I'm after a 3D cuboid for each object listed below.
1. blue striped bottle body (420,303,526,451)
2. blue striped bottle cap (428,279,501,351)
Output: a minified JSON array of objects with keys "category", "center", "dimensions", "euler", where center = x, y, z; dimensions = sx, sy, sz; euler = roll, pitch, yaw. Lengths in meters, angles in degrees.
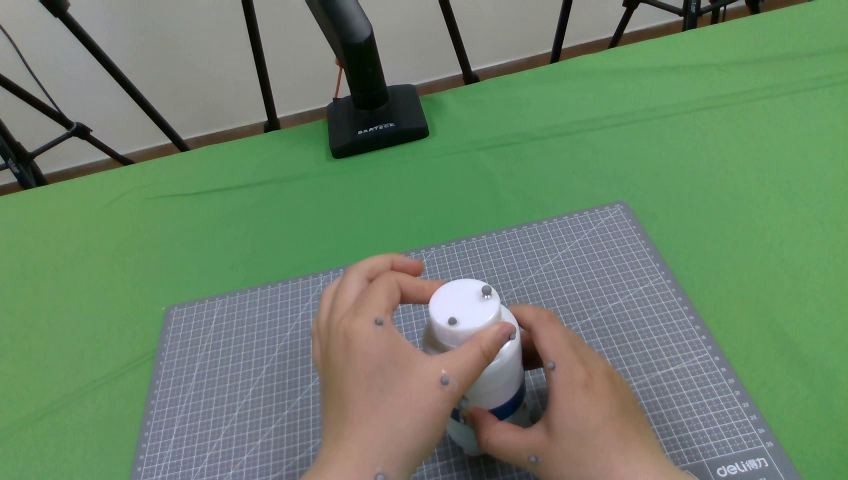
[{"category":"blue striped bottle body","center":[0.034,0.083,0.401],"dimensions":[0.063,0.122,0.062],"euler":[-6,43,6]},{"category":"blue striped bottle cap","center":[0.024,0.044,0.364],"dimensions":[0.044,0.021,0.044],"euler":[-3,39,3]}]
